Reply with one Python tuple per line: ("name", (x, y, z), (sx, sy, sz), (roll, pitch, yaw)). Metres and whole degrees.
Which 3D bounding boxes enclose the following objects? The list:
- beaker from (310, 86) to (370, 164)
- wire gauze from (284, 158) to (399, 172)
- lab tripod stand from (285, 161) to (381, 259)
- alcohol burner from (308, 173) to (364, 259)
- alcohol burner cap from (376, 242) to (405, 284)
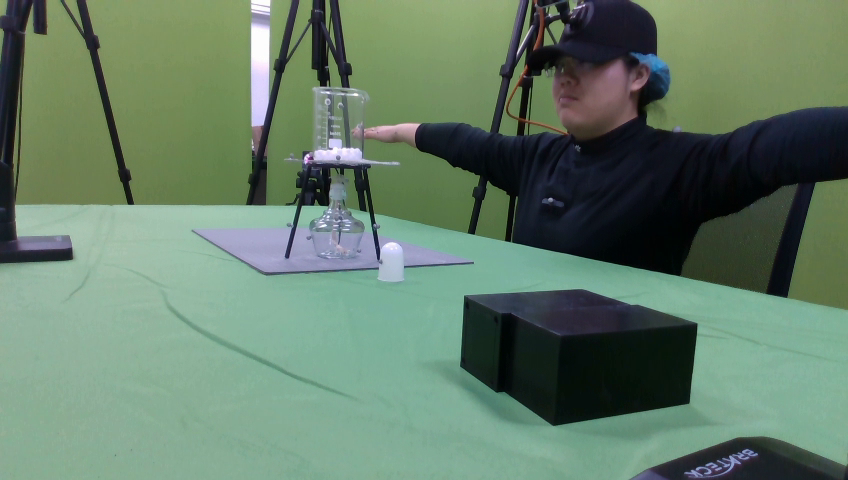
("beaker", (-0.115, -0.156, 0.833), (0.084, 0.100, 0.073), (-2, 10, -29))
("wire gauze", (-0.116, -0.108, 0.835), (0.126, 0.011, 0.121), (0, 10, -31))
("lab tripod stand", (-0.123, -0.043, 0.842), (0.148, 0.131, 0.148), (2, 9, 0))
("alcohol burner", (-0.121, -0.033, 0.843), (0.078, 0.119, 0.078), (3, 5, 0))
("alcohol burner cap", (-0.039, 0.026, 0.710), (0.034, 0.048, 0.034), (3, 6, 0))
